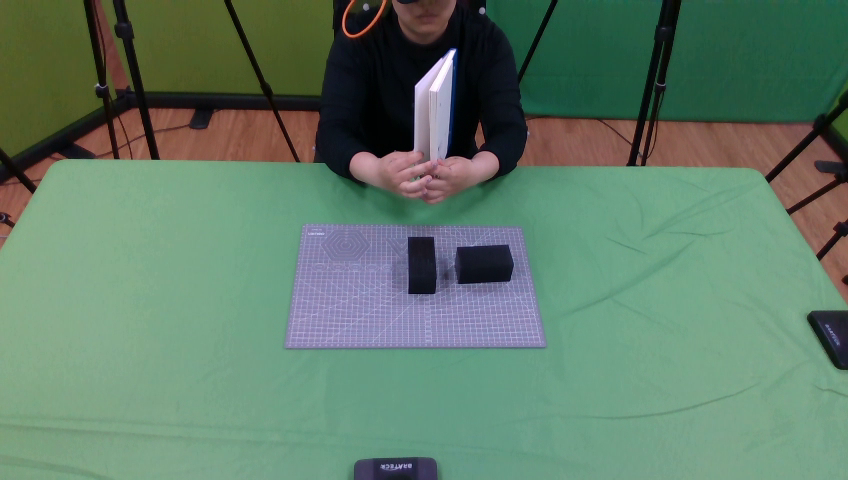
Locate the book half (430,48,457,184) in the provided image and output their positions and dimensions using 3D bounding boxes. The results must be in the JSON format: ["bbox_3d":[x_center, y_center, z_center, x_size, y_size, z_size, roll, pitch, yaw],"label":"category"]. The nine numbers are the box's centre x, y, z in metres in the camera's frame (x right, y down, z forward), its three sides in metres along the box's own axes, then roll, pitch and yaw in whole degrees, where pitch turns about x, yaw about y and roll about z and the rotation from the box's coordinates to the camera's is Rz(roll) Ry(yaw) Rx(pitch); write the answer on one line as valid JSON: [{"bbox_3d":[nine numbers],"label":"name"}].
[{"bbox_3d":[0.035,-0.229,1.143,0.016,0.211,0.148,12,47,9],"label":"book half"}]

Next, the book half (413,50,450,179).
[{"bbox_3d":[0.014,-0.233,1.145,0.007,0.211,0.143,21,50,17],"label":"book half"}]
